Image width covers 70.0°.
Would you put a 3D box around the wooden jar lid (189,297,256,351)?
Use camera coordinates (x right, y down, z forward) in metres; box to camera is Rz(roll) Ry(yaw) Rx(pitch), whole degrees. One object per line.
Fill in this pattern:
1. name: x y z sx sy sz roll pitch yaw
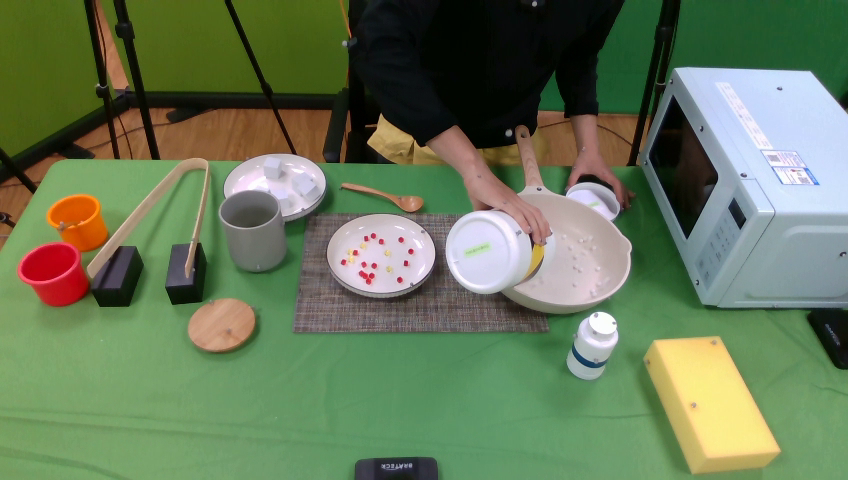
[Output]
1. wooden jar lid: -0.342 0.145 1.033 0.108 0.021 0.107 2 45 -2

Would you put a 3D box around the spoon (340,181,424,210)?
1. spoon: -0.090 -0.100 1.282 0.193 0.022 0.041 18 64 13

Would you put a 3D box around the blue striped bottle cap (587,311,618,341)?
1. blue striped bottle cap: 0.279 0.134 0.946 0.044 0.021 0.044 2 45 -2

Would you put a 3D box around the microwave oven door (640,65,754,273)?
1. microwave oven door: 0.523 -0.147 1.193 0.039 0.245 0.353 0 47 -3

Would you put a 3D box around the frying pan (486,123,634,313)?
1. frying pan: 0.235 -0.060 1.207 0.307 0.103 0.484 2 55 -6

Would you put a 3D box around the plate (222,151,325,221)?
1. plate: -0.310 -0.106 1.262 0.208 0.039 0.206 2 47 -2

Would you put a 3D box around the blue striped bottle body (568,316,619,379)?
1. blue striped bottle body: 0.276 0.169 0.984 0.063 0.121 0.062 2 46 -2

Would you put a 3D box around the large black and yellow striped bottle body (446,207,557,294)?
1. large black and yellow striped bottle body: 0.135 0.012 1.000 0.130 0.131 0.184 35 23 26

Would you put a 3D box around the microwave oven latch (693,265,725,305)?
1. microwave oven latch: 0.523 0.082 1.116 0.030 0.029 0.078 2 46 -1

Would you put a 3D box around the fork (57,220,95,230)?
1. fork: -0.624 -0.027 1.087 0.028 0.207 0.018 -3 92 -17

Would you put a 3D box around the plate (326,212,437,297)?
1. plate: -0.080 0.030 1.143 0.209 0.038 0.208 2 46 -2

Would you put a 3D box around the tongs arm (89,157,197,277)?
1. tongs arm: -0.530 -0.058 1.163 0.028 0.028 0.385 1 36 7

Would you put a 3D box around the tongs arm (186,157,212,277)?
1. tongs arm: -0.445 -0.058 1.168 0.051 0.026 0.382 -4 37 -6

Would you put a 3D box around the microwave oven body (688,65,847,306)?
1. microwave oven body: 0.669 -0.111 1.176 0.326 0.261 0.439 0 46 -3

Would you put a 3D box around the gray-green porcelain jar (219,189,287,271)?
1. gray-green porcelain jar: -0.310 -0.014 1.113 0.106 0.127 0.105 2 46 -2

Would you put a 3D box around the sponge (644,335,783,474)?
1. sponge: 0.448 0.253 0.956 0.118 0.061 0.205 -3 47 -8
